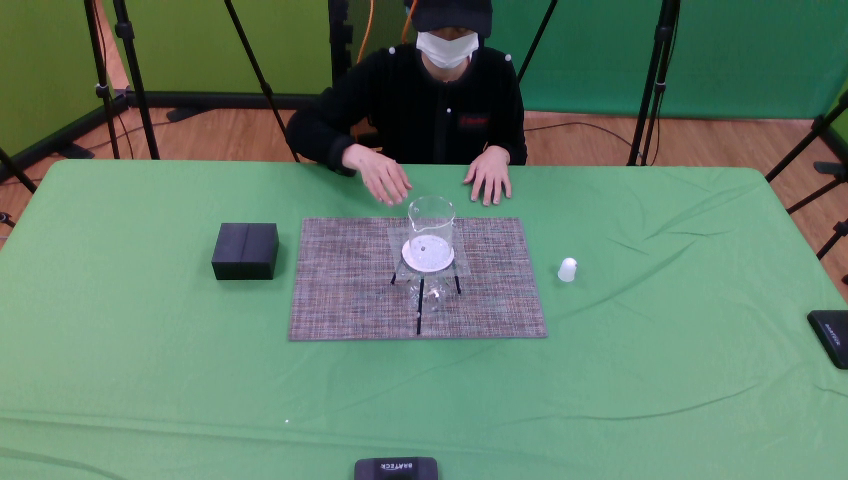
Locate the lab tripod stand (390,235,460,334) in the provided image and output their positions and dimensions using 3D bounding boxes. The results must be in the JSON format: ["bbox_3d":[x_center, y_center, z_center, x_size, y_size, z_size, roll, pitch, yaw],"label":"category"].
[{"bbox_3d":[-0.001,0.067,1.050,0.148,0.132,0.147,1,47,-1],"label":"lab tripod stand"}]

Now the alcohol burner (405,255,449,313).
[{"bbox_3d":[0.006,0.071,1.060,0.078,0.120,0.077,1,45,-1],"label":"alcohol burner"}]

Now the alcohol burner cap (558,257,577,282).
[{"bbox_3d":[0.276,0.053,1.154,0.034,0.048,0.033,2,46,-2],"label":"alcohol burner cap"}]

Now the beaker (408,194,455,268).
[{"bbox_3d":[0.009,-0.010,0.965,0.074,0.101,0.084,23,50,20],"label":"beaker"}]

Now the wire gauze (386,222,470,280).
[{"bbox_3d":[0.005,0.018,1.006,0.125,0.011,0.120,-7,45,-5],"label":"wire gauze"}]
